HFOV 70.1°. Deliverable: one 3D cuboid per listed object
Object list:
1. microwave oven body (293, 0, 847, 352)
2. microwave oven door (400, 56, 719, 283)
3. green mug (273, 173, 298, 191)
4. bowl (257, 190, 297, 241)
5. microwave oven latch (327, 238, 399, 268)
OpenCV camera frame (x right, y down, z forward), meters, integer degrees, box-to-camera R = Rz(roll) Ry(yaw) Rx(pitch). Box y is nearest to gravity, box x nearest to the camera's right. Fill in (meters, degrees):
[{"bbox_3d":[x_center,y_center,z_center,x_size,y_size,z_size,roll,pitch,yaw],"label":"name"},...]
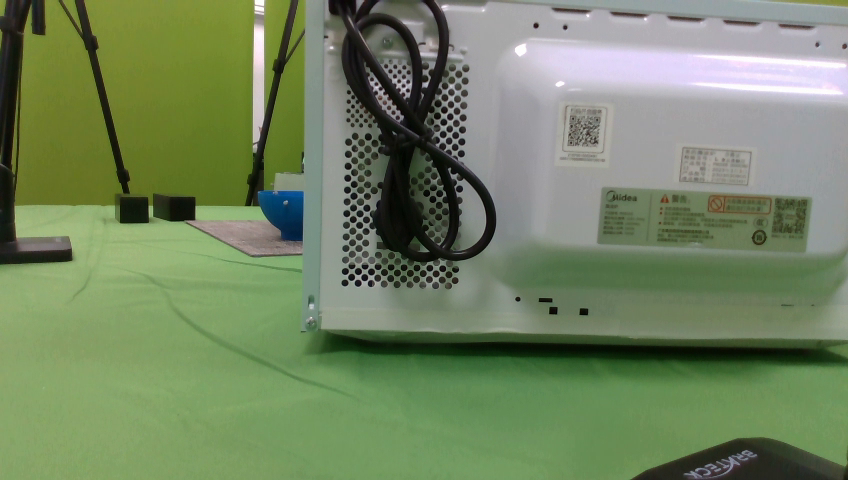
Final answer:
[{"bbox_3d":[0.122,-0.055,0.550,0.442,0.260,0.325,3,7,-5],"label":"microwave oven body"},{"bbox_3d":[0.155,-0.078,0.698,0.356,0.243,0.039,2,8,-5],"label":"microwave oven door"},{"bbox_3d":[-0.264,-0.084,1.236,0.093,0.105,0.125,0,8,-13],"label":"green mug"},{"bbox_3d":[-0.206,-0.041,1.027,0.151,0.077,0.151,3,8,0],"label":"bowl"},{"bbox_3d":[-0.069,0.015,0.694,0.079,0.029,0.030,3,7,-3],"label":"microwave oven latch"}]
